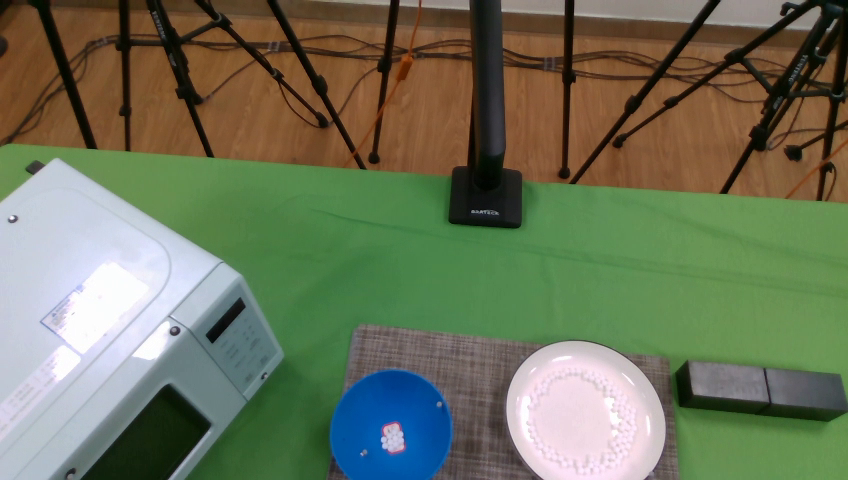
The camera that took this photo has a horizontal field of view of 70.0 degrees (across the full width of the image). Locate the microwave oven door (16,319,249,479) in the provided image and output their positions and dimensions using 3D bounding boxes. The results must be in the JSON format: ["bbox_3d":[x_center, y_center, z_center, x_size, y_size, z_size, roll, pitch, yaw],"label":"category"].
[{"bbox_3d":[-0.346,0.270,0.641,0.039,0.246,0.354,28,62,17],"label":"microwave oven door"}]

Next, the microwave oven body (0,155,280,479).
[{"bbox_3d":[-0.446,0.177,0.705,0.324,0.262,0.440,29,63,16],"label":"microwave oven body"}]

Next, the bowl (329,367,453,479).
[{"bbox_3d":[-0.041,0.246,0.770,0.151,0.077,0.150,0,58,0],"label":"bowl"}]

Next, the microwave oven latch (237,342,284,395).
[{"bbox_3d":[-0.224,0.169,0.824,0.030,0.030,0.079,31,64,17],"label":"microwave oven latch"}]

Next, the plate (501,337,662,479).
[{"bbox_3d":[0.205,0.231,0.803,0.208,0.039,0.205,0,58,0],"label":"plate"}]
